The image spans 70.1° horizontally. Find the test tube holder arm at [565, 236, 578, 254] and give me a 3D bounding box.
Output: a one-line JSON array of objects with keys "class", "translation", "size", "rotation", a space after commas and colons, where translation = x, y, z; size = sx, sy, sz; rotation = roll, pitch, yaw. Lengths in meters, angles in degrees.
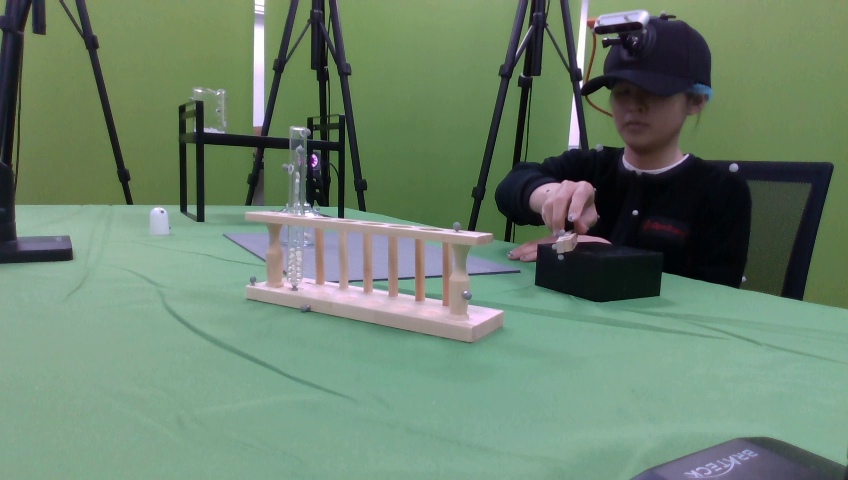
[{"class": "test tube holder arm", "translation": [0.164, 0.005, 0.669], "size": [0.010, 0.015, 0.088], "rotation": [0, 5, 17]}]

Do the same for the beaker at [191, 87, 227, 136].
[{"class": "beaker", "translation": [-0.476, -0.284, 1.345], "size": [0.074, 0.100, 0.083], "rotation": [-3, 10, -37]}]

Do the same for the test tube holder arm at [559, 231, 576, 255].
[{"class": "test tube holder arm", "translation": [0.171, 0.001, 0.714], "size": [0.013, 0.015, 0.179], "rotation": [-1, 4, 16]}]

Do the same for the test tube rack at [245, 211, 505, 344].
[{"class": "test tube rack", "translation": [-0.049, 0.025, 0.547], "size": [0.241, 0.085, 0.067], "rotation": [7, 8, 29]}]

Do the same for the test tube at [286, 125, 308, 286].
[{"class": "test tube", "translation": [-0.118, -0.030, 0.558], "size": [0.017, 0.150, 0.017], "rotation": [4, 12, -1]}]

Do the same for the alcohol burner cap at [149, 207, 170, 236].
[{"class": "alcohol burner cap", "translation": [-0.445, -0.032, 1.019], "size": [0.034, 0.048, 0.034], "rotation": [4, 8, 0]}]

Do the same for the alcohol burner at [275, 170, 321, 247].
[{"class": "alcohol burner", "translation": [-0.199, -0.050, 0.948], "size": [0.078, 0.119, 0.078], "rotation": [1, 7, 0]}]
